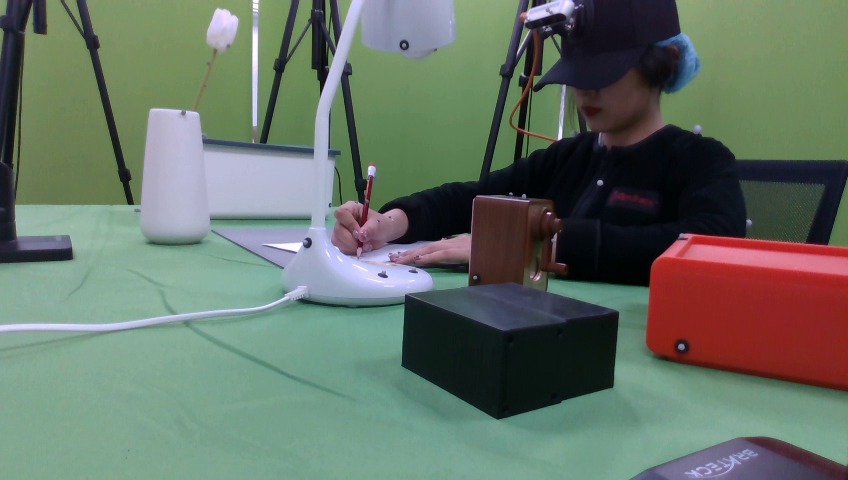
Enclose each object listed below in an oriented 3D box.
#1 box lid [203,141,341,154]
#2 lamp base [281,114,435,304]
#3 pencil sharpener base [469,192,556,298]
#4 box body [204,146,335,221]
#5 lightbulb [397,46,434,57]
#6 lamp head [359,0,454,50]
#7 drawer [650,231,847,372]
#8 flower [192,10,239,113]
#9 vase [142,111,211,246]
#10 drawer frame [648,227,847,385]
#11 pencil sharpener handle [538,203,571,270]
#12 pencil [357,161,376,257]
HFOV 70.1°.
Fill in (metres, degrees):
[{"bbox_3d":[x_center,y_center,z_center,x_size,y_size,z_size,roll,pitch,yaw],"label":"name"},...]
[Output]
[{"bbox_3d":[-0.396,-0.212,1.373,0.373,0.015,0.262,-1,9,-29],"label":"box lid"},{"bbox_3d":[-0.071,-0.034,0.614,0.160,0.180,0.180,6,10,27],"label":"lamp base"},{"bbox_3d":[0.097,0.003,0.652,0.076,0.107,0.061,8,9,38],"label":"pencil sharpener base"},{"bbox_3d":[-0.411,-0.135,1.386,0.366,0.160,0.253,-2,9,-29],"label":"box body"},{"bbox_3d":[-0.017,-0.264,0.692,0.059,0.108,0.059,-9,28,5],"label":"lightbulb"},{"bbox_3d":[-0.024,-0.282,0.674,0.112,0.123,0.112,-3,38,3],"label":"lamp head"},{"bbox_3d":[0.303,0.044,0.499,0.194,0.073,0.212,7,9,27],"label":"drawer"},{"bbox_3d":[-0.354,-0.174,0.916,0.038,0.361,0.044,18,-3,12],"label":"flower"},{"bbox_3d":[-0.378,-0.093,0.920,0.098,0.200,0.098,2,9,0],"label":"vase"},{"bbox_3d":[0.303,0.043,0.495,0.201,0.082,0.214,6,9,26],"label":"drawer frame"},{"bbox_3d":[0.137,-0.003,0.619,0.030,0.067,0.036,8,7,38],"label":"pencil sharpener handle"},{"bbox_3d":[-0.085,-0.047,0.879,0.012,0.012,0.193,2,49,1],"label":"pencil"}]
